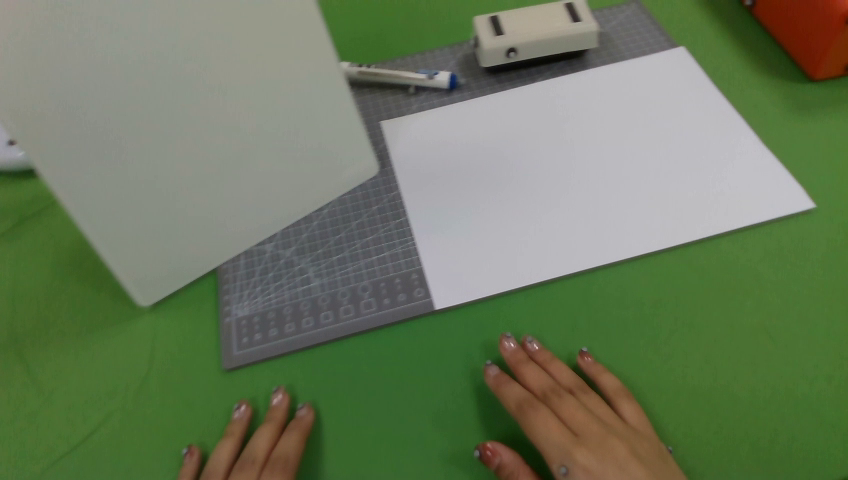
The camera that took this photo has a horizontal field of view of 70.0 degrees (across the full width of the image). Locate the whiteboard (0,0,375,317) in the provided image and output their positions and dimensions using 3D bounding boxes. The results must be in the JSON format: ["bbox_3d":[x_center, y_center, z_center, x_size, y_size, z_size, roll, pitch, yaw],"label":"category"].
[{"bbox_3d":[-0.206,-0.141,0.453,0.217,0.308,0.142,-32,37,-16],"label":"whiteboard"}]

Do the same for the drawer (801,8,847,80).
[{"bbox_3d":[0.405,-0.258,0.576,0.194,0.074,0.209,-13,52,-2],"label":"drawer"}]

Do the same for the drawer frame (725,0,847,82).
[{"bbox_3d":[0.404,-0.260,0.576,0.202,0.083,0.211,-14,52,-3],"label":"drawer frame"}]

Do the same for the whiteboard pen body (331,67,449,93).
[{"bbox_3d":[-0.046,-0.155,0.583,0.140,0.017,0.017,7,54,8],"label":"whiteboard pen body"}]

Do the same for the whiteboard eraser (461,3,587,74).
[{"bbox_3d":[0.095,-0.192,0.583,0.113,0.042,0.055,-12,51,-2],"label":"whiteboard eraser"}]

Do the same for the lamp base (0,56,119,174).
[{"bbox_3d":[-0.403,-0.175,0.543,0.178,0.182,0.160,18,57,22],"label":"lamp base"}]

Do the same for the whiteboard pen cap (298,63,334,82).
[{"bbox_3d":[-0.105,-0.163,0.591,0.033,0.018,0.018,6,54,6],"label":"whiteboard pen cap"}]
